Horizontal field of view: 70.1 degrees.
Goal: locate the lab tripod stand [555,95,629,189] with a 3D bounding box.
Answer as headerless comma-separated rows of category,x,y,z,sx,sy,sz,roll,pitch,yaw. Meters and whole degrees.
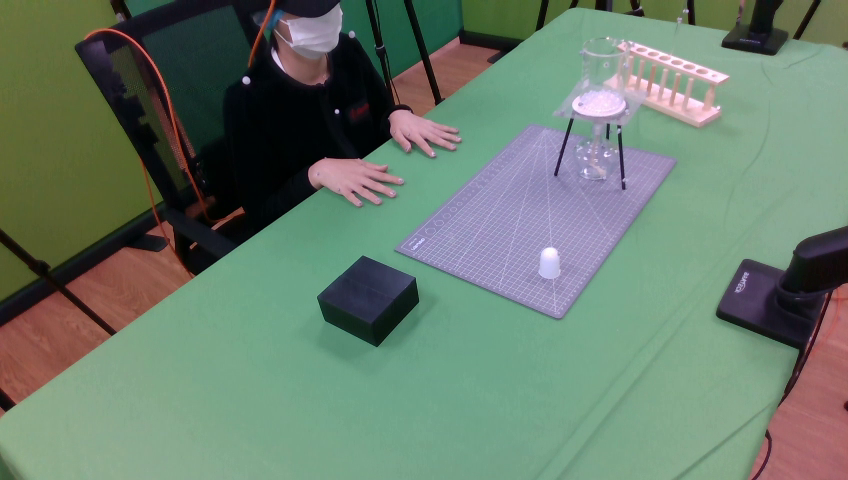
lab tripod stand,0.300,-0.174,1.045,0.148,0.132,0.147,-5,38,5

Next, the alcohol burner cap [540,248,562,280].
alcohol burner cap,0.187,0.032,0.888,0.034,0.048,0.033,-4,40,4

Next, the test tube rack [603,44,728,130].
test tube rack,0.480,-0.316,1.227,0.067,0.085,0.240,-28,44,-22

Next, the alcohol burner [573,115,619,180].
alcohol burner,0.300,-0.164,1.048,0.078,0.119,0.077,-3,40,3

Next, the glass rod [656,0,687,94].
glass rod,0.491,-0.381,1.199,0.008,0.200,0.008,1,41,0

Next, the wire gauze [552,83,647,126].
wire gauze,0.293,-0.224,1.004,0.120,0.011,0.125,19,43,26

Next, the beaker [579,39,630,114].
beaker,0.289,-0.263,0.975,0.073,0.101,0.084,17,45,27
